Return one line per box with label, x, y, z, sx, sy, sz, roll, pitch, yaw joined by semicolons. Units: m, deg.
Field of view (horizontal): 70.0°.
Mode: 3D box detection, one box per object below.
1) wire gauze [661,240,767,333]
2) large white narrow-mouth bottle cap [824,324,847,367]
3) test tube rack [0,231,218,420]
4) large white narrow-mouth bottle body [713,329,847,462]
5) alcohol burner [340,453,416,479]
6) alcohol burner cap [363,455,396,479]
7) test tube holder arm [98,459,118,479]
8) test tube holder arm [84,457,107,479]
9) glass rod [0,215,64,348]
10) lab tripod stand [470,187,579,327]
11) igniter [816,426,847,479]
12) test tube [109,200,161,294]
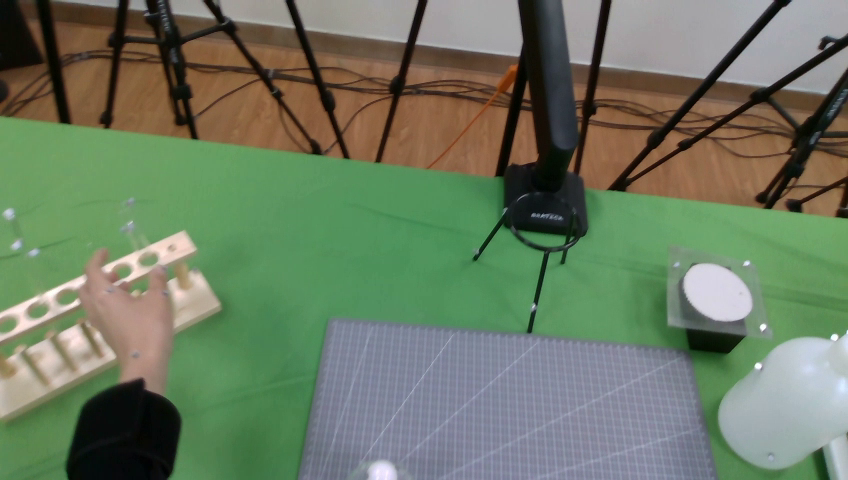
wire gauze;0.358;0.058;0.758;0.121;0.011;0.124;11;52;3
large white narrow-mouth bottle cap;0.397;0.099;0.565;0.038;0.024;0.037;3;52;-4
test tube rack;-0.361;0.089;0.664;0.242;0.086;0.066;-29;61;-26
large white narrow-mouth bottle body;0.389;0.153;0.631;0.102;0.196;0.101;3;52;-3
alcohol burner;-0.042;0.233;0.568;0.078;0.120;0.077;5;51;-5
alcohol burner cap;-0.039;0.211;0.539;0.034;0.048;0.033;2;46;-2
test tube holder arm;-0.318;0.272;0.510;0.013;0.015;0.177;11;51;13
test tube holder arm;-0.310;0.237;0.539;0.010;0.015;0.087;11;51;14
glass rod;-0.390;0.051;0.607;0.008;0.201;0.008;6;44;-6
lab tripod stand;0.132;0.014;0.749;0.148;0.132;0.147;4;53;-5
igniter;0.448;0.301;0.631;0.057;0.025;0.274;17;51;-6
test tube;-0.312;0.013;0.665;0.017;0.151;0.017;1;50;-1
